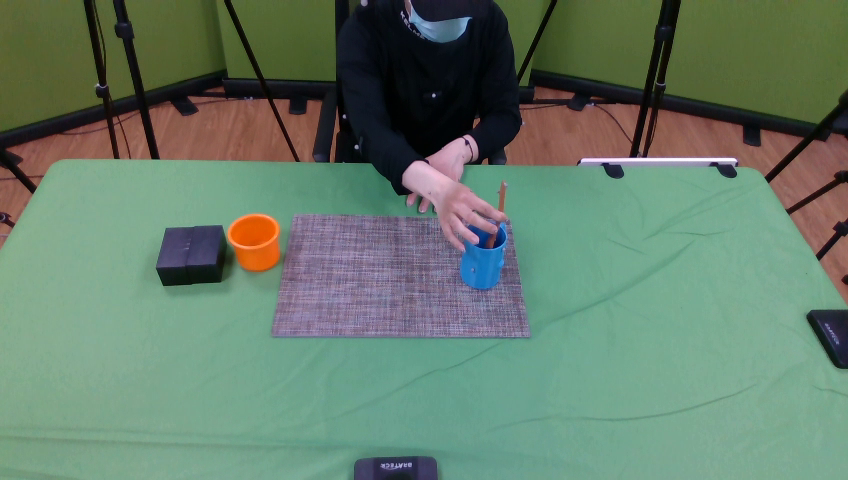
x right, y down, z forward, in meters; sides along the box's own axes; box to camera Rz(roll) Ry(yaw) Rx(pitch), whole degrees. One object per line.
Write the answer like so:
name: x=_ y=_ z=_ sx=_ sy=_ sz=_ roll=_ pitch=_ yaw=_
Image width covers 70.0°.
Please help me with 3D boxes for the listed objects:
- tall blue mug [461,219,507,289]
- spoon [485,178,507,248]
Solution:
tall blue mug: x=0.111 y=0.016 z=1.122 sx=0.078 sy=0.108 sz=0.106 roll=6 pitch=46 yaw=4
spoon: x=0.129 y=-0.030 z=1.067 sx=0.022 sy=0.194 sz=0.041 roll=-1 pitch=42 yaw=-10
